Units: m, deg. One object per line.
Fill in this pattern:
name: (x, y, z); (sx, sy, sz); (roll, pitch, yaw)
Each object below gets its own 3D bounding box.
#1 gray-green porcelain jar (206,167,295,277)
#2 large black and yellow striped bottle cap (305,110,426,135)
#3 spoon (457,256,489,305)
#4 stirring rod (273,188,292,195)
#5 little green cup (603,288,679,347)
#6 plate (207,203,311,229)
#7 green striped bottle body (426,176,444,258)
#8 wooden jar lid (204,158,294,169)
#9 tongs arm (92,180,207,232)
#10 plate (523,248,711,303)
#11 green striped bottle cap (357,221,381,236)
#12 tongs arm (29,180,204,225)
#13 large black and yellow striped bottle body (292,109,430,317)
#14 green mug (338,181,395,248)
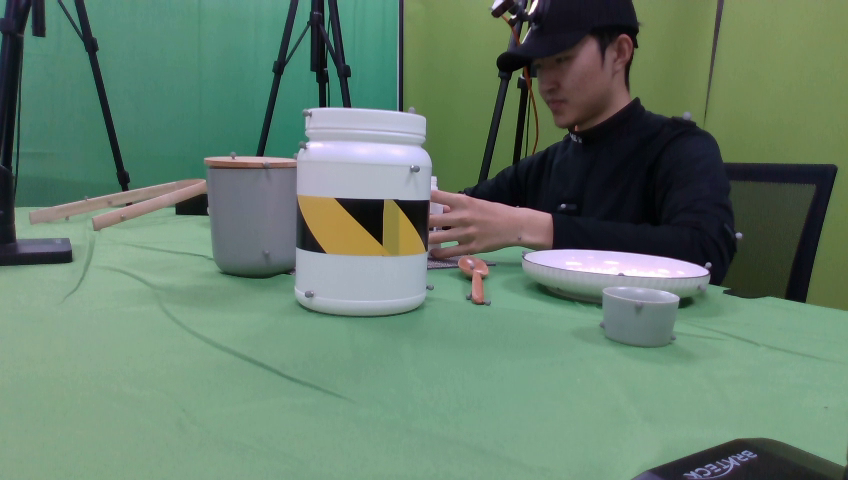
gray-green porcelain jar: (-0.201, -0.024, 0.724); (0.106, 0.126, 0.106); (-1, 9, 1)
large black and yellow striped bottle cap: (-0.055, -0.110, 0.574); (0.115, 0.019, 0.115); (1, 7, 0)
spoon: (0.059, 0.044, 0.696); (0.041, 0.021, 0.194); (20, 7, 0)
stirring rod: (-0.354, -0.122, 1.518); (0.006, 0.014, 0.176); (1, 7, 1)
little green cup: (0.180, 0.064, 0.505); (0.061, 0.038, 0.061); (2, 6, 0)
plate: (-0.342, -0.050, 1.259); (0.208, 0.039, 0.207); (2, 7, 0)
green striped bottle body: (-0.003, -0.036, 0.896); (0.063, 0.119, 0.063); (3, 7, 0)
wooden jar lid: (-0.202, -0.086, 0.714); (0.108, 0.020, 0.108); (3, 11, 0)
tongs arm: (-0.534, -0.076, 1.221); (0.028, 0.028, 0.388); (-2, 15, 12)
plate: (0.219, 0.042, 0.706); (0.209, 0.038, 0.209); (2, 7, 0)
green striped bottle cap: (-0.102, -0.021, 1.133); (0.044, 0.020, 0.044); (8, -11, 2)
tongs arm: (-0.609, -0.083, 1.245); (0.050, 0.026, 0.386); (5, 16, 23)
large black and yellow striped bottle body: (-0.060, -0.028, 0.585); (0.131, 0.184, 0.130); (3, 7, 0)
green mug: (-0.098, -0.044, 0.995); (0.093, 0.105, 0.125); (-1, 7, -21)
